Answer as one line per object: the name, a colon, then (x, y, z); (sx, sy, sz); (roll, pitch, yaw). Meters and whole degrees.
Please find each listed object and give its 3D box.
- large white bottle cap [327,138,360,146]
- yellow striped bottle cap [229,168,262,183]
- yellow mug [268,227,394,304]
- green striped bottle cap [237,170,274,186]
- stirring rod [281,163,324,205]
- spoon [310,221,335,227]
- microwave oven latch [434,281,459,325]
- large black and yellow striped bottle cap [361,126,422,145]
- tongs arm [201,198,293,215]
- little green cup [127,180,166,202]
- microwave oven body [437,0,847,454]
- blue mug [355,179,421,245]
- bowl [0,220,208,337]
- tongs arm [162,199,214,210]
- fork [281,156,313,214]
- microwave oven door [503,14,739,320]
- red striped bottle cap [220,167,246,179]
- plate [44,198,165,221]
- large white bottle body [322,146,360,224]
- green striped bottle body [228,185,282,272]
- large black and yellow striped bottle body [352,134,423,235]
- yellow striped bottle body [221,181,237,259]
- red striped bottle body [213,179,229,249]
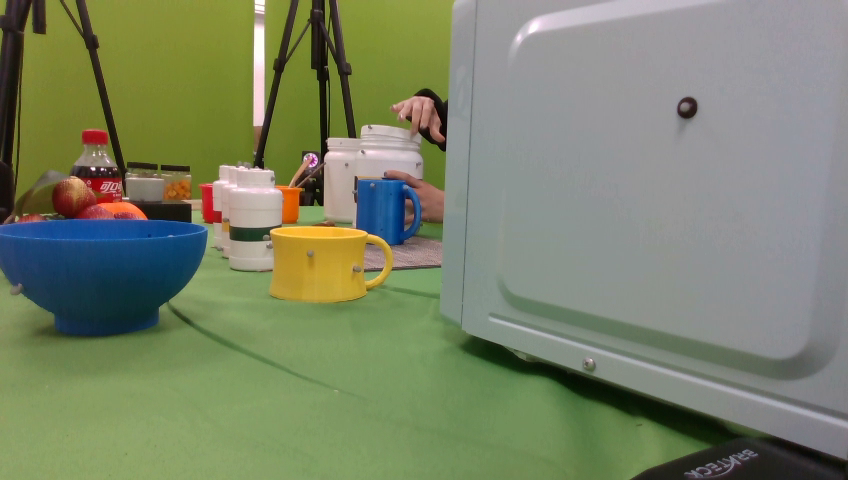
large white bottle cap: (-0.160, -0.218, 1.357); (0.115, 0.018, 0.115); (2, 8, 0)
yellow striped bottle cap: (-0.240, -0.087, 0.816); (0.044, 0.018, 0.044); (-3, 5, 1)
yellow mug: (-0.094, 0.023, 0.629); (0.131, 0.064, 0.099); (0, 8, -22)
green striped bottle cap: (-0.205, -0.075, 0.737); (0.044, 0.020, 0.044); (1, 5, 0)
stirring rod: (-0.278, -0.105, 1.293); (0.176, 0.006, 0.014); (-47, 25, -18)
spoon: (-0.185, -0.027, 1.131); (0.041, 0.021, 0.193); (-19, 6, 2)
microwave oven latch: (0.044, 0.045, 0.470); (0.079, 0.029, 0.030); (-2, 8, -39)
large black and yellow striped bottle cap: (-0.061, -0.195, 1.135); (0.115, 0.019, 0.115); (6, 1, 0)
tongs arm: (-0.423, -0.084, 1.472); (0.050, 0.026, 0.386); (2, 6, 21)
little green cup: (-0.486, -0.087, 1.061); (0.061, 0.038, 0.061); (0, 7, 0)
microwave oven body: (0.279, -0.040, 0.464); (0.444, 0.260, 0.324); (-3, 9, -41)
blue mug: (-0.058, -0.046, 1.004); (0.116, 0.106, 0.082); (6, 9, 24)
bowl: (-0.251, 0.029, 0.479); (0.151, 0.077, 0.151); (2, 7, 0)
tongs arm: (-0.504, -0.091, 1.513); (0.028, 0.028, 0.389); (0, 4, 37)
fork: (-0.289, -0.116, 1.320); (0.028, 0.019, 0.207); (-2, 48, 27)
microwave oven door: (0.218, -0.065, 0.600); (0.358, 0.243, 0.039); (-4, 10, -41)
red striped bottle cap: (-0.281, -0.100, 0.901); (0.044, 0.017, 0.044); (-1, 5, 0)
plate: (-0.617, -0.056, 1.179); (0.209, 0.038, 0.209); (3, 7, 0)
large white bottle body: (-0.163, -0.135, 1.369); (0.131, 0.184, 0.130); (2, 7, 0)
green striped bottle body: (-0.208, -0.023, 0.745); (0.063, 0.119, 0.063); (2, 7, 0)
large black and yellow striped bottle body: (-0.069, -0.105, 1.144); (0.131, 0.184, 0.130); (3, 8, 0)
yellow striped bottle body: (-0.244, -0.035, 0.823); (0.063, 0.120, 0.063); (2, 8, 0)
red striped bottle body: (-0.283, -0.047, 0.908); (0.063, 0.119, 0.063); (2, 8, 0)
